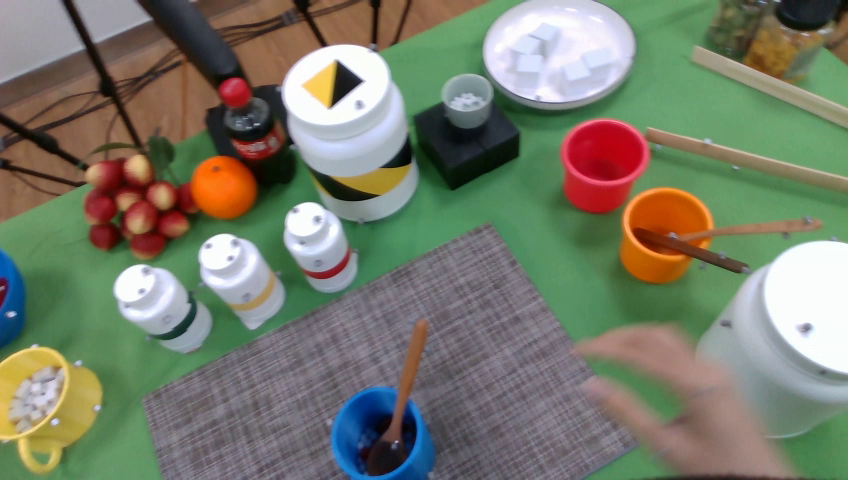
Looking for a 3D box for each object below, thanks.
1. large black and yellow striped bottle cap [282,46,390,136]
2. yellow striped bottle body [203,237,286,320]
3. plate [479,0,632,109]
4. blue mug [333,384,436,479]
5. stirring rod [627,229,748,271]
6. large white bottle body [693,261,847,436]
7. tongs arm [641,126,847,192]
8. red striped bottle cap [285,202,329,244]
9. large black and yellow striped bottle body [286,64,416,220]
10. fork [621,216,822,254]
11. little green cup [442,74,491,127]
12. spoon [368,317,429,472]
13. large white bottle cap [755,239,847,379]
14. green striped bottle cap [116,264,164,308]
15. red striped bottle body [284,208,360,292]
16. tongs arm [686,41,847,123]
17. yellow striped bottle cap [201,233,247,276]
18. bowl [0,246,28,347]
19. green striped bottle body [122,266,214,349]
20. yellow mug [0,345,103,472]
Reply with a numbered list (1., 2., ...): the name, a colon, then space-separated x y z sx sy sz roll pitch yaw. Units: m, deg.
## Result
1. large black and yellow striped bottle cap: -0.094 -0.161 0.647 0.115 0.019 0.114 -4 60 7
2. yellow striped bottle body: -0.204 0.040 0.682 0.063 0.121 0.062 -4 60 7
3. plate: 0.181 -0.260 0.849 0.209 0.038 0.207 -3 61 5
4. blue mug: -0.041 0.206 0.572 0.082 0.107 0.116 18 65 17
5. stirring rod: 0.267 0.008 0.631 0.014 0.006 0.175 -24 17 -10
6. large white bottle body: 0.333 0.094 0.545 0.130 0.186 0.129 -3 60 6
7. tongs arm: 0.458 -0.092 0.720 0.383 0.027 0.050 20 62 17
8. red striped bottle cap: -0.124 -0.019 0.644 0.044 0.018 0.044 -2 58 3
9. large black and yellow striped bottle body: -0.084 -0.121 0.720 0.130 0.185 0.129 -3 60 6
10. fork: 0.295 -0.006 0.627 0.206 0.019 0.028 -12 45 54
11. little green cup: 0.053 -0.173 0.757 0.061 0.039 0.061 -3 57 5
12. spoon: -0.019 0.151 0.549 0.041 0.195 0.021 21 31 14
13. large white bottle cap: 0.322 0.051 0.472 0.115 0.018 0.114 -3 60 6
14. green striped bottle cap: -0.295 0.047 0.629 0.044 0.020 0.044 -3 59 5
15. red striped bottle body: -0.117 0.007 0.689 0.063 0.121 0.062 -5 60 8
16. tongs arm: 0.505 -0.160 0.755 0.384 0.028 0.028 35 64 23
17. yellow striped bottle cap: -0.210 0.014 0.637 0.044 0.019 0.044 -2 62 5
18. bowl: -0.537 0.084 0.724 0.151 0.077 0.150 -3 60 5
19. green striped bottle body: -0.287 0.073 0.674 0.063 0.120 0.062 -3 60 5
20. yellow mug: -0.413 0.186 0.657 0.100 0.064 0.129 -18 61 -4
